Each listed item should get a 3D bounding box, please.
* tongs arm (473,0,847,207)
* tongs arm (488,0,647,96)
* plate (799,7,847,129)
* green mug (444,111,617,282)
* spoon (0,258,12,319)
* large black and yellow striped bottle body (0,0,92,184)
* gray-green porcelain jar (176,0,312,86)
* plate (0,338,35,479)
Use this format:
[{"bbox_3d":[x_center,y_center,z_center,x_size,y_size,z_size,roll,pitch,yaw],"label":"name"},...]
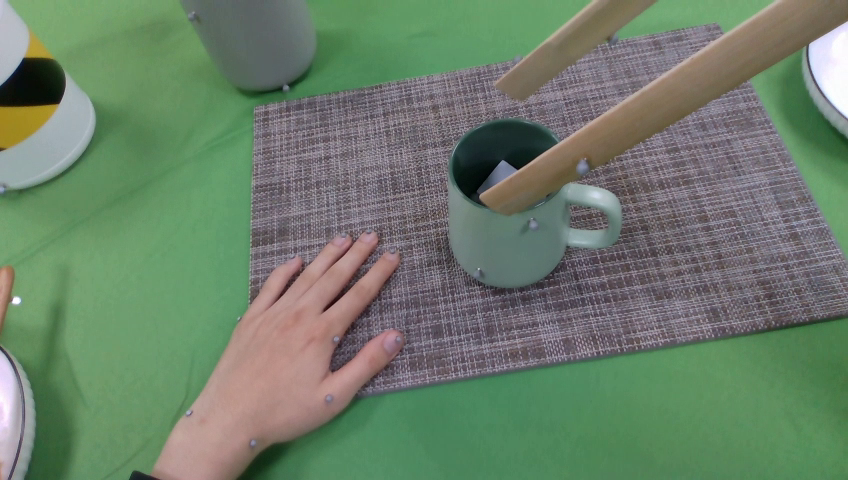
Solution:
[{"bbox_3d":[0.147,-0.100,0.214,0.028,0.387,0.028,29,52,-23],"label":"tongs arm"},{"bbox_3d":[0.155,-0.144,0.237,0.027,0.384,0.050,27,57,-25],"label":"tongs arm"},{"bbox_3d":[0.417,-0.140,0.496,0.207,0.039,0.206,-3,61,6],"label":"plate"},{"bbox_3d":[0.074,-0.026,0.435,0.125,0.106,0.092,10,62,13],"label":"green mug"},{"bbox_3d":[-0.320,0.100,0.440,0.041,0.022,0.192,-7,69,1],"label":"spoon"},{"bbox_3d":[-0.400,-0.149,0.522,0.130,0.185,0.129,-3,61,6],"label":"large black and yellow striped bottle body"},{"bbox_3d":[-0.167,-0.218,0.565,0.106,0.127,0.105,-3,60,6],"label":"gray-green porcelain jar"},{"bbox_3d":[-0.375,0.159,0.432,0.209,0.038,0.207,-3,60,6],"label":"plate"}]
